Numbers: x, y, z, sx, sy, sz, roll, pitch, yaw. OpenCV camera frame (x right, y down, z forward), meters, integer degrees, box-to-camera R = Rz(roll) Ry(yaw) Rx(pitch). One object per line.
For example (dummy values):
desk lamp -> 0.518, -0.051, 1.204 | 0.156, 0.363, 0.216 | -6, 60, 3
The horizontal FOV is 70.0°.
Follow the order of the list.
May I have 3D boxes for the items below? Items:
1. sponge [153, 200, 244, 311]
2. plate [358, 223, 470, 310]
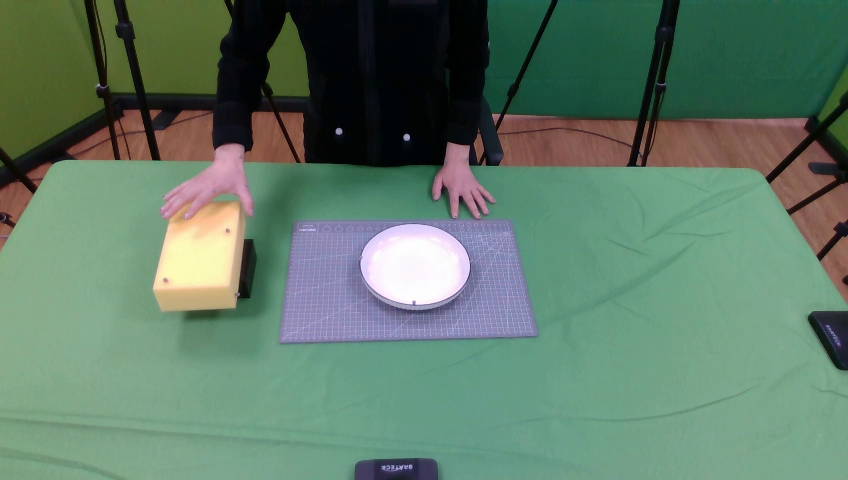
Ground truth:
sponge -> -0.384, 0.022, 1.051 | 0.118, 0.061, 0.205 | -3, 47, -7
plate -> -0.019, 0.052, 1.132 | 0.209, 0.038, 0.208 | 2, 46, -2
